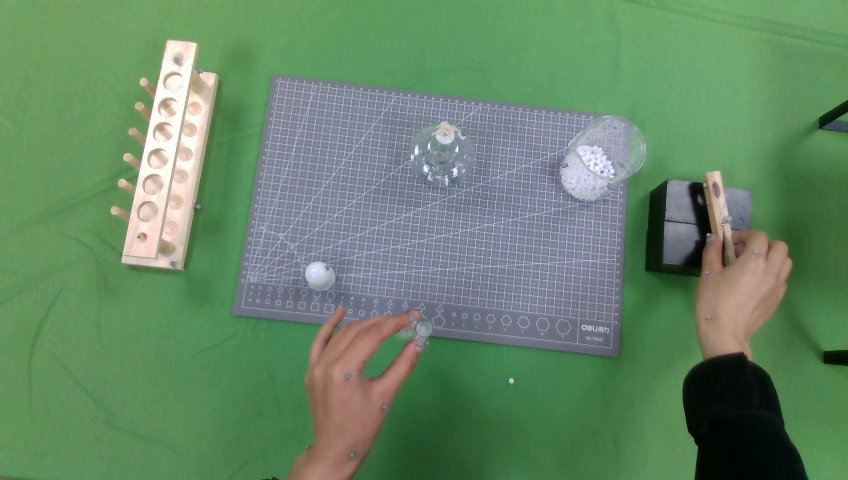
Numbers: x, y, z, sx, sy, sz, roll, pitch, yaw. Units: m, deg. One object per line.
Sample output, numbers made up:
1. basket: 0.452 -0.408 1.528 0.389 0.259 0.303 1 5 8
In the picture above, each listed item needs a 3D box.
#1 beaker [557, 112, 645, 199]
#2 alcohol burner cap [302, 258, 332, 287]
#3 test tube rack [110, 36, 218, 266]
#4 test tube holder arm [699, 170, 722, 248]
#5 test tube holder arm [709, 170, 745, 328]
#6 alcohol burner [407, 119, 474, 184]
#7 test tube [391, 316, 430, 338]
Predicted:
1. beaker: 0.196 -0.092 0.699 0.084 0.100 0.073 5 78 -1
2. alcohol burner cap: -0.123 0.035 0.686 0.034 0.048 0.033 1 80 -4
3. test tube rack: -0.297 -0.099 0.682 0.067 0.085 0.241 7 79 -2
4. test tube holder arm: 0.324 -0.034 0.682 0.010 0.015 0.087 -8 83 5
5. test tube holder arm: 0.336 0.009 0.676 0.013 0.015 0.178 -9 83 4
6. alcohol burner: 0.019 -0.106 0.684 0.078 0.119 0.077 0 79 -1
7. test tube: -0.015 0.081 0.557 0.017 0.150 0.017 2 80 -10
